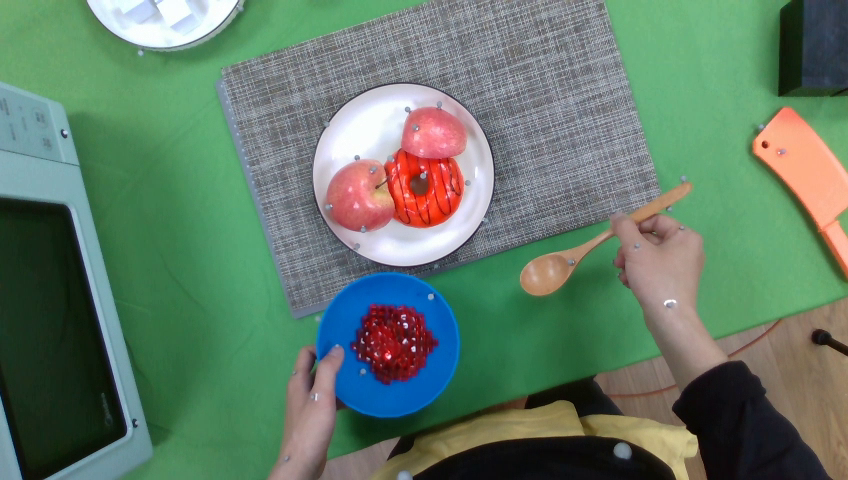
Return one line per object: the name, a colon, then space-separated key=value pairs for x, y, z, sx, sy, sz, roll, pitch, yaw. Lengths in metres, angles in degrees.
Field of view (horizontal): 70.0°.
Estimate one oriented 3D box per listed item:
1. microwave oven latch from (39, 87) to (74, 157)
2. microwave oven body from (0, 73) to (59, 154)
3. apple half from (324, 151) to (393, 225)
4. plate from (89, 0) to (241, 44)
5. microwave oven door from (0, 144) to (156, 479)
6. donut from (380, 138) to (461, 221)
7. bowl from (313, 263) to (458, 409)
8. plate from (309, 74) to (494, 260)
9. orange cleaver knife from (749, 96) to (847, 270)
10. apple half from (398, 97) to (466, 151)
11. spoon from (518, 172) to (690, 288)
microwave oven latch: x=-0.434 y=-0.134 z=0.701 sx=0.030 sy=0.029 sz=0.079 roll=-14 pitch=91 yaw=3
microwave oven body: x=-0.538 y=0.076 z=0.616 sx=0.326 sy=0.260 sz=0.441 roll=-15 pitch=90 yaw=3
apple half: x=-0.079 y=-0.055 z=0.663 sx=0.074 sy=0.053 sz=0.080 roll=-14 pitch=88 yaw=45
plate: x=-0.297 y=-0.330 z=0.707 sx=0.207 sy=0.039 sz=0.207 roll=0 pitch=91 yaw=4
microwave oven door: x=-0.386 y=0.079 z=0.601 sx=0.039 sy=0.244 sz=0.355 roll=-15 pitch=90 yaw=4
donut: x=-0.007 y=-0.070 z=0.678 sx=0.099 sy=0.048 sz=0.099 roll=0 pitch=93 yaw=4
bowl: x=-0.042 y=0.105 z=0.663 sx=0.151 sy=0.077 sz=0.150 roll=1 pitch=79 yaw=-6
plate: x=-0.025 y=-0.082 z=0.690 sx=0.209 sy=0.038 sz=0.209 roll=0 pitch=91 yaw=4
orange cleaver knife: x=0.442 y=-0.061 z=0.672 sx=0.077 sy=0.012 sz=0.211 roll=-33 pitch=87 yaw=-1
apple half: x=0.010 y=-0.133 z=0.660 sx=0.081 sy=0.033 sz=0.080 roll=2 pitch=51 yaw=-2
spoon: x=0.181 y=-0.010 z=0.614 sx=0.194 sy=0.022 sz=0.041 roll=-35 pitch=64 yaw=19
